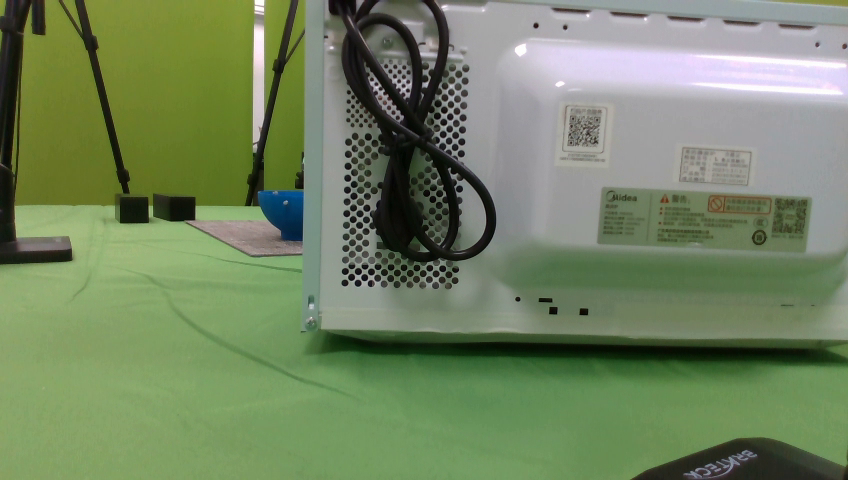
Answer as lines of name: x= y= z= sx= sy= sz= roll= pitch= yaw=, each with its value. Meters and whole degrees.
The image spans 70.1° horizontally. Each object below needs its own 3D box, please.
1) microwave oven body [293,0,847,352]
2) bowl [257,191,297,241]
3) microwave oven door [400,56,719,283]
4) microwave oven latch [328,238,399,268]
microwave oven body: x=0.122 y=-0.055 z=0.550 sx=0.442 sy=0.260 sz=0.325 roll=3 pitch=7 yaw=-5
bowl: x=-0.206 y=-0.041 z=1.027 sx=0.151 sy=0.077 sz=0.151 roll=3 pitch=8 yaw=0
microwave oven door: x=0.155 y=-0.077 z=0.697 sx=0.356 sy=0.243 sz=0.039 roll=2 pitch=8 yaw=-5
microwave oven latch: x=-0.069 y=0.015 z=0.694 sx=0.079 sy=0.029 sz=0.030 roll=3 pitch=7 yaw=-3
